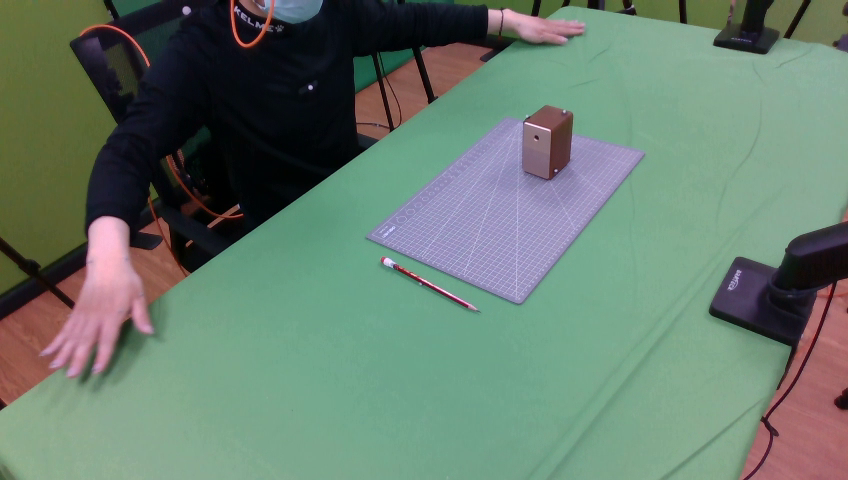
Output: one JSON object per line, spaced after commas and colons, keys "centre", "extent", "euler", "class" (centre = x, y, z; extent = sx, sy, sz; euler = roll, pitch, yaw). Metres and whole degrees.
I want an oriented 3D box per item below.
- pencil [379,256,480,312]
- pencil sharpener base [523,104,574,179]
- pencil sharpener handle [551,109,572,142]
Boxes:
{"centre": [0.005, 0.066, 0.901], "extent": [0.192, 0.012, 0.012], "euler": [26, 50, 31], "class": "pencil"}
{"centre": [0.220, -0.175, 1.071], "extent": [0.061, 0.107, 0.077], "euler": [26, 50, 33], "class": "pencil sharpener base"}
{"centre": [0.253, -0.212, 1.090], "extent": [0.035, 0.068, 0.031], "euler": [22, 48, 36], "class": "pencil sharpener handle"}
